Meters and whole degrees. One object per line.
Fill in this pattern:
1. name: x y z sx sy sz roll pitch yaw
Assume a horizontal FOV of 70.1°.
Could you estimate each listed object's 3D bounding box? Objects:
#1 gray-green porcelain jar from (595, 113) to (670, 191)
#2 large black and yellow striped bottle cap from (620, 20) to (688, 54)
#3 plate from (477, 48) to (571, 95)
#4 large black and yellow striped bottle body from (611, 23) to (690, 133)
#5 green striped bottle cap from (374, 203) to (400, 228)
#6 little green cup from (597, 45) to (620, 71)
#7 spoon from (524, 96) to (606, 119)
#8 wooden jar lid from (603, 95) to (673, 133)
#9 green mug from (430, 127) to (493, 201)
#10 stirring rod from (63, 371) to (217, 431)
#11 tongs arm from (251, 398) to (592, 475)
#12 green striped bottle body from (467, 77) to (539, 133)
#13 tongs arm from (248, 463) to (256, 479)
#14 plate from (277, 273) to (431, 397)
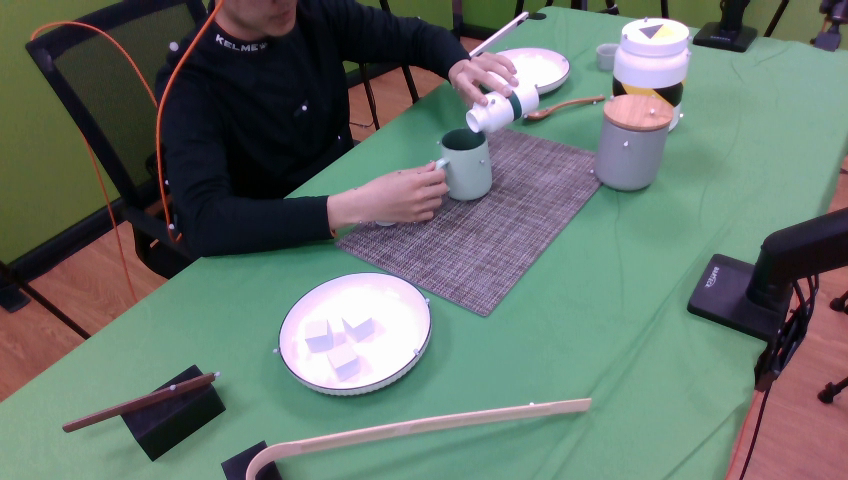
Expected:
1. gray-green porcelain jar: 0.346 -0.155 1.017 0.106 0.127 0.105 -2 44 2
2. large black and yellow striped bottle cap: 0.411 -0.363 1.080 0.115 0.019 0.114 -3 42 4
3. plate: 0.223 -0.371 1.357 0.209 0.038 0.208 -4 41 4
4. large black and yellow striped bottle body: 0.420 -0.299 1.132 0.131 0.185 0.130 -5 40 4
5. green striped bottle cap: -0.063 -0.042 1.030 0.044 0.020 0.044 -2 45 2
6. little green cup: 0.423 -0.413 1.376 0.061 0.039 0.061 -4 41 4
7. spoon: 0.291 -0.277 1.249 0.194 0.022 0.041 -18 22 -11
8. wooden jar lid: 0.343 -0.200 0.974 0.108 0.021 0.108 -2 39 2
9. green mug: 0.059 -0.122 1.034 0.126 0.105 0.092 -35 48 -29
10. stirring rod: -0.337 0.192 0.723 0.177 0.014 0.005 -18 42 -12
11. tongs arm: 0.008 0.213 0.675 0.389 0.028 0.028 -5 46 -11
12. green striped bottle body: 0.131 -0.225 1.027 0.119 0.063 0.062 -30 45 -18
13. tongs arm: 0.012 0.262 0.615 0.385 0.026 0.050 2 41 -2
14. plate: -0.091 0.129 0.821 0.207 0.039 0.206 -4 40 4
